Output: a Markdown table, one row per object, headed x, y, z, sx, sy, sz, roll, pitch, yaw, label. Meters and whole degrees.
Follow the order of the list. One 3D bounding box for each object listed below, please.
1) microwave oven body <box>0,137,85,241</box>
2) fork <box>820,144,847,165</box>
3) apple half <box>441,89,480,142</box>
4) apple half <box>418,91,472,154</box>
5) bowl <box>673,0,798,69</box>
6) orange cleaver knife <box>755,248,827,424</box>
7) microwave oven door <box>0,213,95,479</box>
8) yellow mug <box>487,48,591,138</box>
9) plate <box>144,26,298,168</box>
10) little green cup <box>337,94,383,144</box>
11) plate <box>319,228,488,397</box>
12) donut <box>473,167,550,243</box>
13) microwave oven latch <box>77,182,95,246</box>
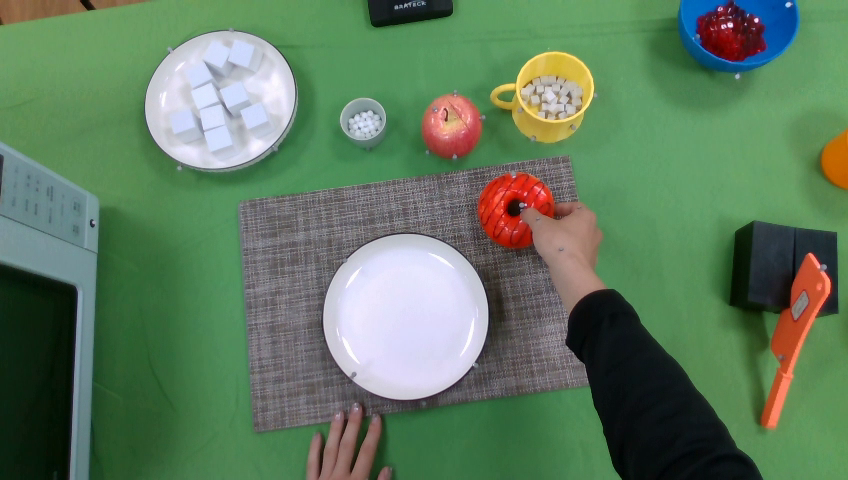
| x | y | z | sx | sy | sz | roll | pitch | yaw | label |
| --- | --- | --- | --- | --- | --- | --- | --- | --- | --- |
| -0.582 | 0.129 | 0.652 | 0.326 | 0.261 | 0.439 | -5 | 77 | 0 | microwave oven body |
| 0.598 | -0.122 | 0.729 | 0.206 | 0.019 | 0.028 | -12 | 69 | 44 | fork |
| 0.053 | -0.168 | 0.798 | 0.033 | 0.081 | 0.081 | -35 | 78 | -1 | apple half |
| 0.021 | -0.146 | 0.795 | 0.053 | 0.075 | 0.080 | -35 | 82 | -1 | apple half |
| 0.401 | -0.287 | 0.811 | 0.151 | 0.077 | 0.150 | 0 | 77 | 2 | bowl |
| 0.424 | 0.115 | 0.713 | 0.012 | 0.077 | 0.212 | 11 | 110 | 7 | orange cleaver knife |
| -0.433 | 0.156 | 0.635 | 0.039 | 0.245 | 0.354 | -5 | 77 | 1 | microwave oven door |
| 0.149 | -0.194 | 0.805 | 0.131 | 0.064 | 0.099 | 2 | 77 | 3 | yellow mug |
| -0.275 | -0.193 | 0.833 | 0.207 | 0.039 | 0.206 | 0 | 77 | 2 | plate |
| -0.084 | -0.161 | 0.820 | 0.061 | 0.039 | 0.061 | 0 | 77 | 2 | little green cup |
| -0.025 | 0.089 | 0.756 | 0.209 | 0.038 | 0.208 | 0 | 77 | 2 | plate |
| 0.111 | -0.044 | 0.770 | 0.099 | 0.048 | 0.099 | -1 | 88 | 13 | donut |
| -0.445 | -0.033 | 0.783 | 0.030 | 0.029 | 0.079 | -4 | 78 | 1 | microwave oven latch |
